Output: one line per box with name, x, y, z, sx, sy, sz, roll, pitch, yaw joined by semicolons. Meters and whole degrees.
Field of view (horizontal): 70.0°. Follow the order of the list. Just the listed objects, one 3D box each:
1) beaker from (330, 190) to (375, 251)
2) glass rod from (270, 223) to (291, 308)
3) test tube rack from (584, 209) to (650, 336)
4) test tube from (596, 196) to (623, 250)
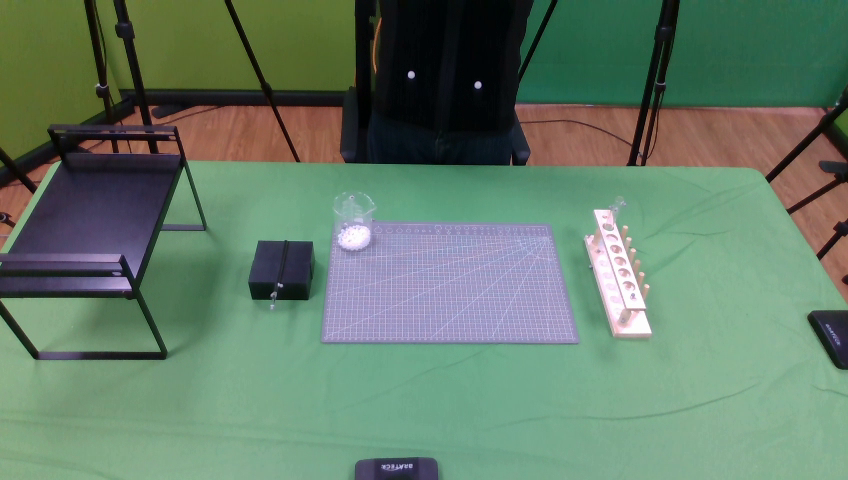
beaker;-0.136;-0.034;1.163;0.084;0.101;0.073;3;46;-3
glass rod;-0.255;0.041;1.082;0.008;0.008;0.198;2;46;-2
test tube rack;0.365;0.056;1.129;0.067;0.085;0.240;1;46;-4
test tube;0.348;-0.029;1.140;0.017;0.151;0.017;0;53;0
